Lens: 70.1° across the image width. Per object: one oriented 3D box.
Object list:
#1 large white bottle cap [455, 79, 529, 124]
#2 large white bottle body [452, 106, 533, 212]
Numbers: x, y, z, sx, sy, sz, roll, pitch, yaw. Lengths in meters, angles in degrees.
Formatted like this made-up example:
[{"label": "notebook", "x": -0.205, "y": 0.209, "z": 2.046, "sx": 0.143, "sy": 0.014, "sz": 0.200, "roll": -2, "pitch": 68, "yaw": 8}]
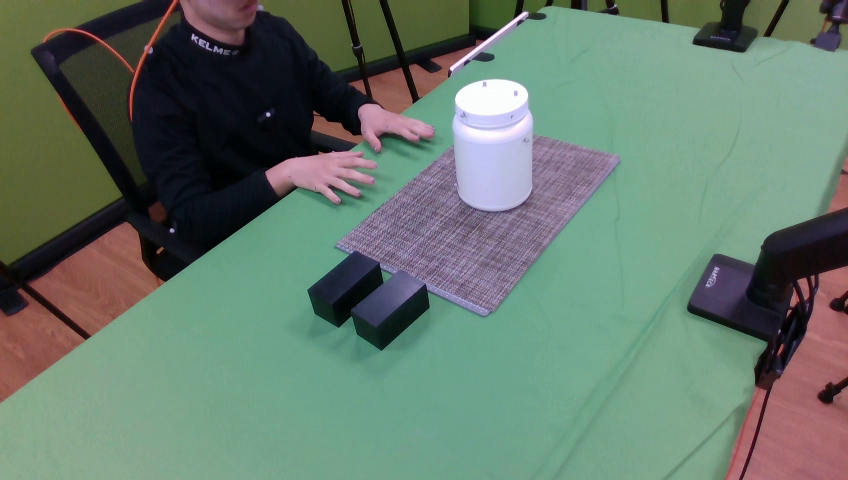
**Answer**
[{"label": "large white bottle cap", "x": 0.106, "y": -0.218, "z": 0.945, "sx": 0.115, "sy": 0.018, "sz": 0.114, "roll": -4, "pitch": 41, "yaw": 4}, {"label": "large white bottle body", "x": 0.115, "y": -0.155, "z": 1.001, "sx": 0.130, "sy": 0.185, "sz": 0.130, "roll": -5, "pitch": 41, "yaw": 4}]
